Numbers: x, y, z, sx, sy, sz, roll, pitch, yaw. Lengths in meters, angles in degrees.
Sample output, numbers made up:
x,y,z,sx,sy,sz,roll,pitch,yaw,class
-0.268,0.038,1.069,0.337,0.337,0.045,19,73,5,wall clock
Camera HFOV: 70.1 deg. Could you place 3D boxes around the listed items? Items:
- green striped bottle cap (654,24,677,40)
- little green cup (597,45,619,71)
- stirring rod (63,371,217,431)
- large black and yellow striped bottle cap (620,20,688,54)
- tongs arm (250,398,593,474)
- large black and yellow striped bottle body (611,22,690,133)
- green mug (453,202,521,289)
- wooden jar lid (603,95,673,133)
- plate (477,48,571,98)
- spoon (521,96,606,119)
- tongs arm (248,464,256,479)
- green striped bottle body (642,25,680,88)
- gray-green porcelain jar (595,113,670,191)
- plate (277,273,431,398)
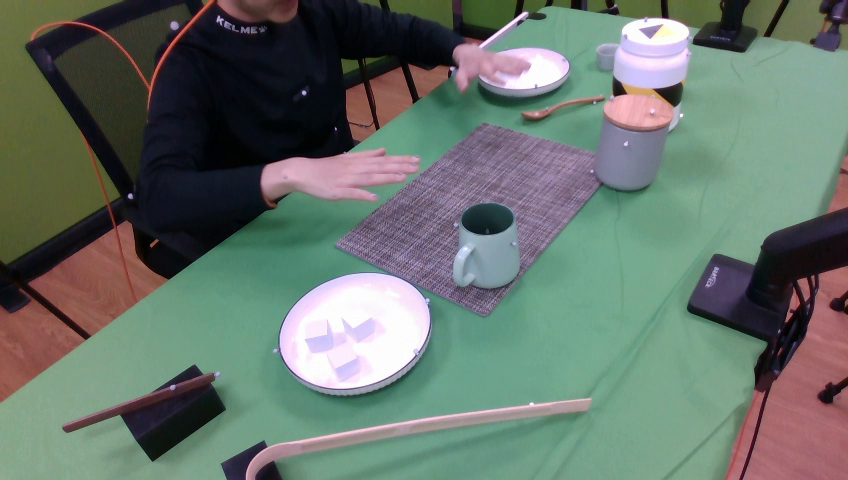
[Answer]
x,y,z,sx,sy,sz,roll,pitch,yaw,class
0.494,-0.426,1.237,0.044,0.020,0.044,-5,41,5,green striped bottle cap
0.423,-0.413,1.376,0.061,0.039,0.061,-4,41,4,little green cup
-0.337,0.192,0.723,0.177,0.014,0.005,-18,43,-12,stirring rod
0.411,-0.363,1.080,0.115,0.019,0.114,-4,42,4,large black and yellow striped bottle cap
0.008,0.212,0.675,0.389,0.028,0.028,-5,46,-11,tongs arm
0.420,-0.300,1.132,0.131,0.185,0.130,-4,41,4,large black and yellow striped bottle body
0.083,0.019,0.867,0.092,0.105,0.125,23,49,30,green mug
0.343,-0.200,0.974,0.108,0.021,0.108,-2,39,2,wooden jar lid
0.223,-0.371,1.357,0.209,0.038,0.208,-4,41,4,plate
0.291,-0.277,1.249,0.194,0.022,0.041,-18,24,-11,spoon
0.012,0.262,0.615,0.385,0.026,0.050,2,42,-2,tongs arm
0.499,-0.387,1.271,0.063,0.120,0.063,-4,41,4,green striped bottle body
0.346,-0.155,1.017,0.106,0.127,0.105,-2,44,2,gray-green porcelain jar
-0.092,0.129,0.821,0.207,0.039,0.206,-4,40,4,plate
